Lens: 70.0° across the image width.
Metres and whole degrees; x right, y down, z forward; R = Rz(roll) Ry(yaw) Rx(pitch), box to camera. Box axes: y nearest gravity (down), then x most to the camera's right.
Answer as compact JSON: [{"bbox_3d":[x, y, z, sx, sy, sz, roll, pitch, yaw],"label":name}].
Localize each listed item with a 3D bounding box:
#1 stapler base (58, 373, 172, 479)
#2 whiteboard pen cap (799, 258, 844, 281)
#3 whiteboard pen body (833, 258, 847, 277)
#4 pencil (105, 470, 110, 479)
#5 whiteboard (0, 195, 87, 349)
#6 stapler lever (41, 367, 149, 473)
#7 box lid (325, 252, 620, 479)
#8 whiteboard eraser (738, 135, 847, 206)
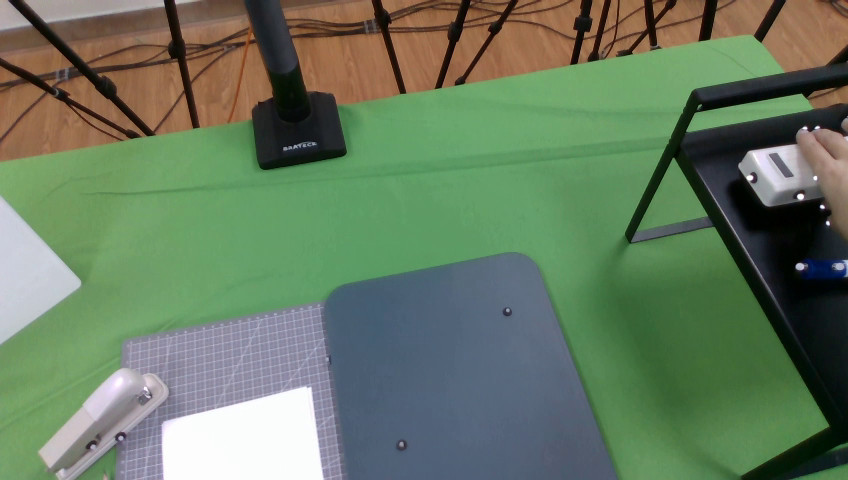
[{"bbox_3d":[-0.326,0.189,0.627,0.041,0.024,0.130,37,67,26],"label":"stapler base"},{"bbox_3d":[0.339,0.025,0.514,0.033,0.018,0.018,7,57,-5],"label":"whiteboard pen cap"},{"bbox_3d":[0.400,0.024,0.517,0.141,0.017,0.017,1,57,-3],"label":"whiteboard pen body"},{"bbox_3d":[-0.277,0.303,0.561,0.012,0.012,0.192,-23,60,-14],"label":"pencil"},{"bbox_3d":[-0.562,-0.010,0.626,0.217,0.309,0.142,-42,46,-22],"label":"whiteboard"},{"bbox_3d":[-0.329,0.177,0.605,0.026,0.040,0.118,36,67,26],"label":"stapler lever"},{"bbox_3d":[0.046,0.183,0.639,0.264,0.015,0.367,-11,58,-8],"label":"box lid"},{"bbox_3d":[0.355,-0.062,0.561,0.113,0.042,0.055,-10,51,-5],"label":"whiteboard eraser"}]
